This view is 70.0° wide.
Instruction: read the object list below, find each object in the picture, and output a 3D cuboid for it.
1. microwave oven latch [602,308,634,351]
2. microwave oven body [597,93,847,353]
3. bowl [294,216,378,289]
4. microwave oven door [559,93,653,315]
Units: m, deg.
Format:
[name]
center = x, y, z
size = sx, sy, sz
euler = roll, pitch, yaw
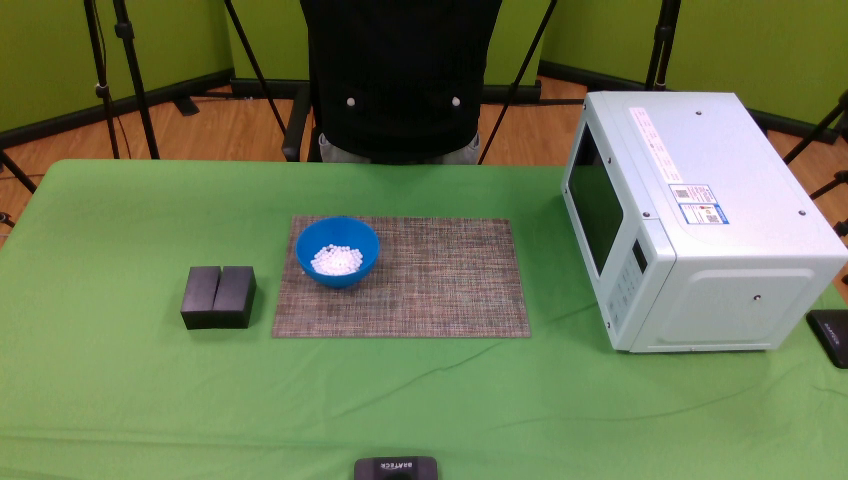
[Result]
[microwave oven latch]
center = 0.332, 0.153, 1.044
size = 0.030, 0.029, 0.078
euler = -1, 45, -4
[microwave oven body]
center = 0.475, -0.041, 1.109
size = 0.326, 0.261, 0.438
euler = -1, 45, -4
[bowl]
center = -0.158, 0.036, 1.110
size = 0.151, 0.077, 0.150
euler = 3, 45, -2
[microwave oven door]
center = 0.327, -0.074, 1.123
size = 0.039, 0.245, 0.353
euler = -1, 46, -5
